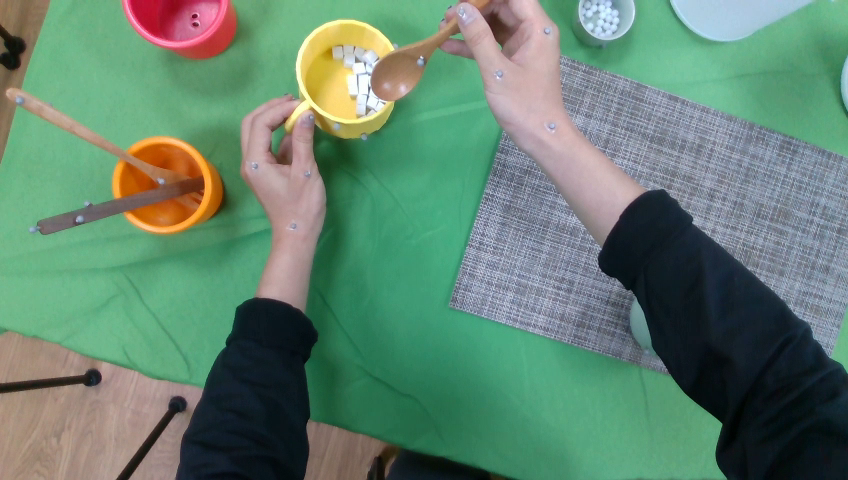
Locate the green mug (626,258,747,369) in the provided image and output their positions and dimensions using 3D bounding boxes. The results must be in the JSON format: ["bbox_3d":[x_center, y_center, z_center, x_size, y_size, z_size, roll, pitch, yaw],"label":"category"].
[{"bbox_3d":[0.284,0.073,0.641,0.093,0.105,0.125,34,89,-5],"label":"green mug"}]

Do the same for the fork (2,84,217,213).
[{"bbox_3d":[-0.282,-0.080,0.565,0.028,0.018,0.209,-57,138,-4],"label":"fork"}]

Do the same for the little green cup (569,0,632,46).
[{"bbox_3d":[0.187,-0.241,0.654,0.061,0.038,0.061,0,93,-4],"label":"little green cup"}]

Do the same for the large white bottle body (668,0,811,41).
[{"bbox_3d":[0.336,-0.285,0.591,0.131,0.184,0.130,0,92,-4],"label":"large white bottle body"}]

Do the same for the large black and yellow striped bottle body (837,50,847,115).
[{"bbox_3d":[0.544,-0.180,0.616,0.131,0.183,0.131,0,92,-4],"label":"large black and yellow striped bottle body"}]

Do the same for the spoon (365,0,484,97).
[{"bbox_3d":[0.017,-0.174,0.488,0.042,0.193,0.021,27,53,-31],"label":"spoon"}]

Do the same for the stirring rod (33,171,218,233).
[{"bbox_3d":[-0.273,-0.039,0.573,0.176,0.006,0.014,-27,97,-45],"label":"stirring rod"}]

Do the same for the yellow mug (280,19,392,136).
[{"bbox_3d":[-0.090,-0.149,0.602,0.131,0.064,0.100,-40,95,-7],"label":"yellow mug"}]
